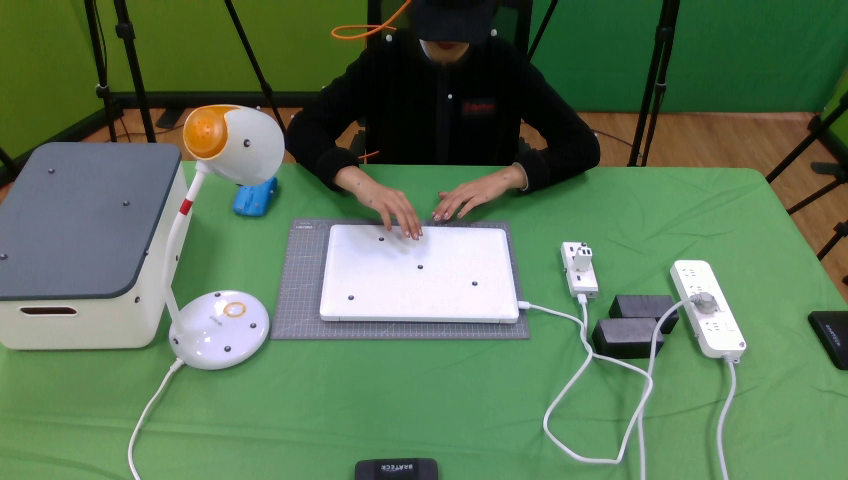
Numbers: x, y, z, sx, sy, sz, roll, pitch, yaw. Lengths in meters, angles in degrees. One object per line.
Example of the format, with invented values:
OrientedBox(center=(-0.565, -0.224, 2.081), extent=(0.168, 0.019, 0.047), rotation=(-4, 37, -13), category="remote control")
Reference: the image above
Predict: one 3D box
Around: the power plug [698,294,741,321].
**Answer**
OrientedBox(center=(0.515, 0.127, 1.070), extent=(0.035, 0.053, 0.072), rotation=(-18, 56, -7), category="power plug")

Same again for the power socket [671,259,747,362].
OrientedBox(center=(0.516, 0.119, 1.108), extent=(0.072, 0.033, 0.225), rotation=(0, 46, -2), category="power socket")

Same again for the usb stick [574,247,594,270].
OrientedBox(center=(0.298, 0.040, 1.135), extent=(0.027, 0.059, 0.021), rotation=(2, 46, -4), category="usb stick")

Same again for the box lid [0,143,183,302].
OrientedBox(center=(-0.567, -0.045, 0.999), extent=(0.263, 0.015, 0.369), rotation=(-1, 46, -4), category="box lid")

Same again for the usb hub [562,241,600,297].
OrientedBox(center=(0.300, 0.055, 1.162), extent=(0.049, 0.025, 0.124), rotation=(2, 46, -3), category="usb hub")

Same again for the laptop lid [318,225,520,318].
OrientedBox(center=(-0.009, 0.052, 1.130), extent=(0.357, 0.013, 0.240), rotation=(2, 44, -2), category="laptop lid")

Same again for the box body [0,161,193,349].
OrientedBox(center=(-0.570, 0.006, 1.054), extent=(0.254, 0.161, 0.361), rotation=(-1, 46, -4), category="box body")

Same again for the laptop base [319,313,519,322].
OrientedBox(center=(-0.009, 0.062, 1.137), extent=(0.354, 0.023, 0.234), rotation=(1, 42, -3), category="laptop base")

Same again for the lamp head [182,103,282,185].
OrientedBox(center=(-0.271, -0.133, 0.825), extent=(0.112, 0.112, 0.123), rotation=(20, 8, 15), category="lamp head")

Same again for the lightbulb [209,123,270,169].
OrientedBox(center=(-0.260, -0.136, 0.847), extent=(0.059, 0.108, 0.059), rotation=(-4, 78, 20), category="lightbulb")

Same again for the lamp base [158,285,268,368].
OrientedBox(center=(-0.348, 0.102, 0.963), extent=(0.160, 0.181, 0.178), rotation=(23, 51, 18), category="lamp base")

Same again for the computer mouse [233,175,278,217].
OrientedBox(center=(-0.349, -0.098, 1.258), extent=(0.063, 0.041, 0.116), rotation=(10, 50, 3), category="computer mouse")
